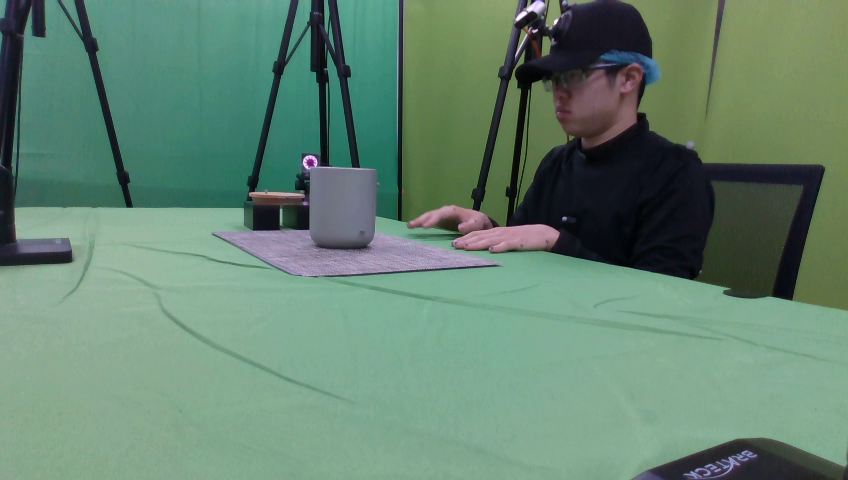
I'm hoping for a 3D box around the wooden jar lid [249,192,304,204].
[{"bbox_3d":[-0.297,-0.086,1.220,0.108,0.020,0.108,4,7,0],"label":"wooden jar lid"}]

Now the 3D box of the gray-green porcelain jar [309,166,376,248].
[{"bbox_3d":[-0.130,-0.054,0.966,0.106,0.126,0.106,2,7,0],"label":"gray-green porcelain jar"}]
